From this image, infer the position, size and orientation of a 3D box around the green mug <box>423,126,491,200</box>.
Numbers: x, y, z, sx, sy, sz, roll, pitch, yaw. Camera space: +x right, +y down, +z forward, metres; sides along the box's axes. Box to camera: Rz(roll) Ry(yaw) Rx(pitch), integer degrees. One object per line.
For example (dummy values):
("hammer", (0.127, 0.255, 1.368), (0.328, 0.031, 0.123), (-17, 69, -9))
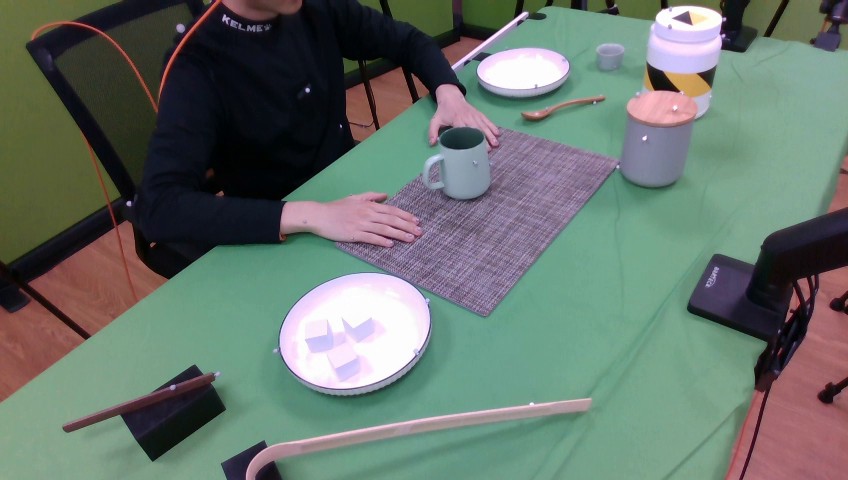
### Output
("green mug", (0.055, -0.126, 1.039), (0.126, 0.105, 0.091), (-25, 44, -19))

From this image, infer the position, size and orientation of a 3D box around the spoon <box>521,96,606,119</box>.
("spoon", (0.291, -0.277, 1.249), (0.194, 0.022, 0.041), (-18, 24, -11))

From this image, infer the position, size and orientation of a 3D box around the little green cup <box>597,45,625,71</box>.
("little green cup", (0.423, -0.413, 1.375), (0.061, 0.039, 0.061), (-3, 41, 3))

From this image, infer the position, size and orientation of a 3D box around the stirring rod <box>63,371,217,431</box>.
("stirring rod", (-0.337, 0.192, 0.723), (0.177, 0.014, 0.005), (-18, 43, -12))

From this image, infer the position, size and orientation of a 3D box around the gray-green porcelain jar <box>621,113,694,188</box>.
("gray-green porcelain jar", (0.390, -0.161, 1.020), (0.106, 0.127, 0.105), (-4, 41, 4))

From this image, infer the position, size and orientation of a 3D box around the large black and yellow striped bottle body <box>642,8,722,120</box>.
("large black and yellow striped bottle body", (0.493, -0.334, 1.161), (0.131, 0.185, 0.130), (-4, 41, 4))

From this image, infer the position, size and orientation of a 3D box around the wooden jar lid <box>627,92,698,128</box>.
("wooden jar lid", (0.384, -0.207, 0.980), (0.108, 0.021, 0.108), (-6, 39, 5))

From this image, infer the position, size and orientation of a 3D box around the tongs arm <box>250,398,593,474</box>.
("tongs arm", (0.008, 0.212, 0.675), (0.389, 0.028, 0.028), (-5, 46, -11))

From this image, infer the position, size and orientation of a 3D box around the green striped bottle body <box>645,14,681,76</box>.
("green striped bottle body", (0.520, -0.424, 1.312), (0.063, 0.120, 0.063), (-4, 41, 4))

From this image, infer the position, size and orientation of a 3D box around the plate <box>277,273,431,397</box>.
("plate", (-0.091, 0.129, 0.821), (0.207, 0.039, 0.206), (-4, 40, 4))

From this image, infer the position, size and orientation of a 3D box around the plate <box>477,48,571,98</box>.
("plate", (0.223, -0.371, 1.357), (0.209, 0.038, 0.208), (-4, 41, 4))

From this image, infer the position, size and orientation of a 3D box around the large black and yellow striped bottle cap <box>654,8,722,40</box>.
("large black and yellow striped bottle cap", (0.483, -0.397, 1.108), (0.115, 0.019, 0.114), (-3, 41, 3))

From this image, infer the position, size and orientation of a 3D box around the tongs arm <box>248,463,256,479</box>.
("tongs arm", (0.012, 0.262, 0.615), (0.385, 0.026, 0.050), (3, 41, -2))

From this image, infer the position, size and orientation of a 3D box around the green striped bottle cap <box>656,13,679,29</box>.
("green striped bottle cap", (0.515, -0.463, 1.278), (0.044, 0.020, 0.044), (-6, 42, 6))
